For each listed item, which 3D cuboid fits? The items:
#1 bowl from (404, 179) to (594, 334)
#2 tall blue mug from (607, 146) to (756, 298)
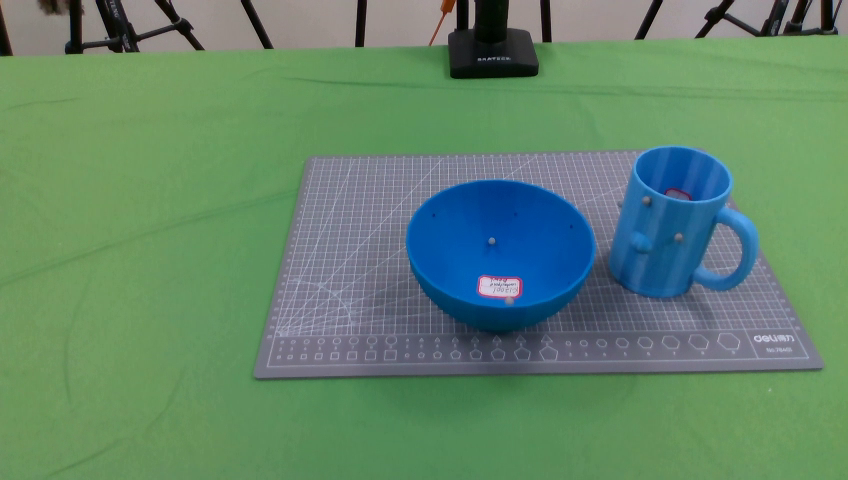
[{"bbox_3d":[0.059,0.025,0.504,0.151,0.077,0.150,-1,43,1],"label":"bowl"},{"bbox_3d":[0.219,-0.010,0.513,0.107,0.109,0.077,12,45,15],"label":"tall blue mug"}]
